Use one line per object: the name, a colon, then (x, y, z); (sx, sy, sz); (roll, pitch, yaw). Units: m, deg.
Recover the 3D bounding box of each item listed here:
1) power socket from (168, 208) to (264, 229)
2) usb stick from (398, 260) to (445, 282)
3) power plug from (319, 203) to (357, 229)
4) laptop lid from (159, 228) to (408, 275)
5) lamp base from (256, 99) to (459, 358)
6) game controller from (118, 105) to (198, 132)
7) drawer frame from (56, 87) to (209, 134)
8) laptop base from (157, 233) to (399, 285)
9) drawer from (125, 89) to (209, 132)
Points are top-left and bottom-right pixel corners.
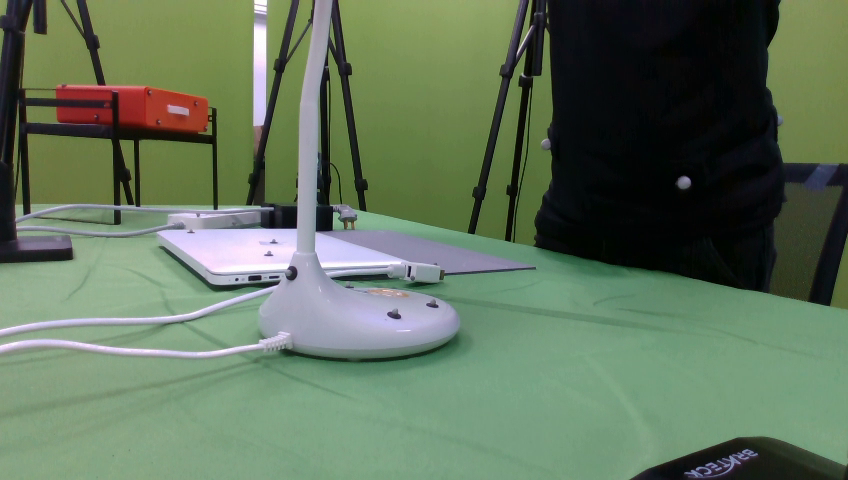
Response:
power socket: (-0.381, -0.038, 1.128); (0.072, 0.032, 0.227); (4, 8, 16)
usb stick: (-0.001, 0.036, 0.696); (0.027, 0.021, 0.059); (7, 0, 43)
power plug: (-0.170, -0.046, 1.210); (0.073, 0.052, 0.035); (-5, -16, -7)
laptop lid: (-0.202, 0.007, 0.806); (0.243, 0.013, 0.355); (-1, 8, -31)
lamp base: (-0.055, -0.013, 0.463); (0.160, 0.180, 0.180); (6, 11, 27)
game controller: (-0.554, -0.252, 1.254); (0.097, 0.051, 0.155); (6, 11, 19)
drawer frame: (-0.598, -0.269, 1.261); (0.213, 0.082, 0.202); (4, 8, 14)
laptop base: (-0.204, 0.019, 0.806); (0.237, 0.023, 0.352); (0, 7, -33)
drawer: (-0.595, -0.268, 1.263); (0.211, 0.073, 0.195); (4, 8, 15)
